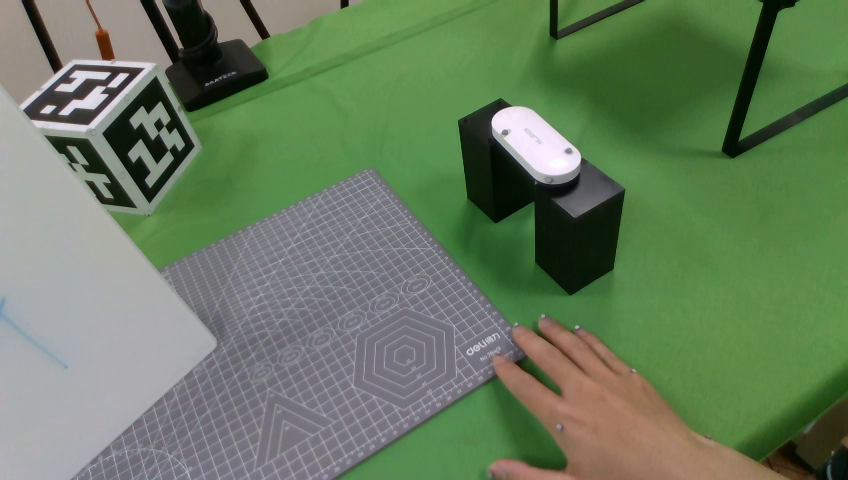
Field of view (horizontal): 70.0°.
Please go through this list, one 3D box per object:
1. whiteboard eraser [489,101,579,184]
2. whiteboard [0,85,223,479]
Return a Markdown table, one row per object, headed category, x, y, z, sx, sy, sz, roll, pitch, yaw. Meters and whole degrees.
| category | x | y | z | sx | sy | sz | roll | pitch | yaw |
| --- | --- | --- | --- | --- | --- | --- | --- | --- | --- |
| whiteboard eraser | 0.091 | -0.085 | 0.509 | 0.041 | 0.019 | 0.100 | -25 | 51 | -12 |
| whiteboard | -0.353 | 0.036 | 0.467 | 0.142 | 0.308 | 0.217 | 14 | 51 | 46 |
